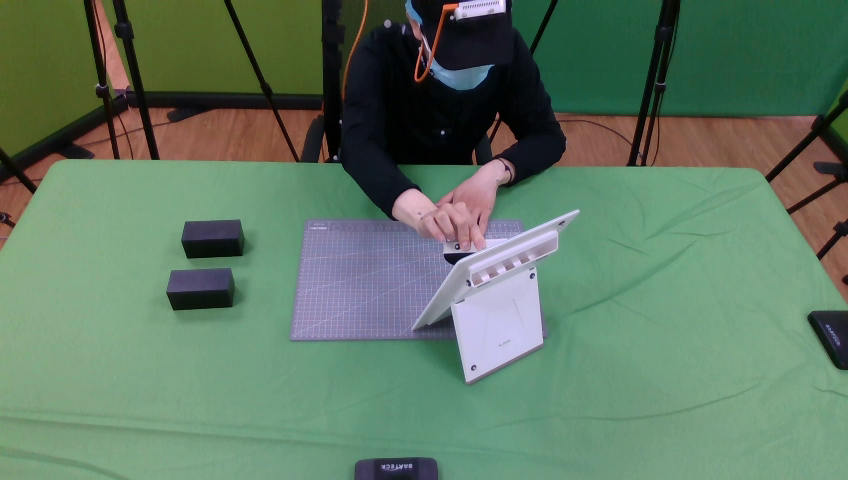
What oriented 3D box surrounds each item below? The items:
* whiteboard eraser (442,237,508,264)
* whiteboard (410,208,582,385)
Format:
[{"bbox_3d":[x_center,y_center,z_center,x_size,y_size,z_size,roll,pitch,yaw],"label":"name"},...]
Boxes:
[{"bbox_3d":[0.090,0.019,0.964,0.112,0.056,0.041,-5,74,28],"label":"whiteboard eraser"},{"bbox_3d":[0.132,0.109,0.945,0.217,0.306,0.143,-21,72,-22],"label":"whiteboard"}]
